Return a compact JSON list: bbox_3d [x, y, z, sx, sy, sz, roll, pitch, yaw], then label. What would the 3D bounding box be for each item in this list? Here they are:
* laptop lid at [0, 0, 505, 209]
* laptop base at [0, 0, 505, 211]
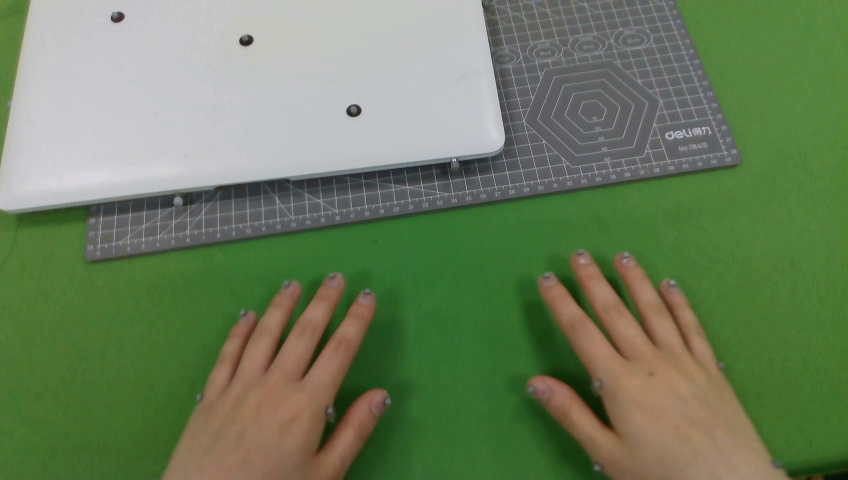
[{"bbox_3d":[-0.130,-0.148,0.451,0.357,0.013,0.240,-5,68,1],"label":"laptop lid"},{"bbox_3d":[-0.129,-0.145,0.463,0.354,0.023,0.233,-7,70,0],"label":"laptop base"}]
